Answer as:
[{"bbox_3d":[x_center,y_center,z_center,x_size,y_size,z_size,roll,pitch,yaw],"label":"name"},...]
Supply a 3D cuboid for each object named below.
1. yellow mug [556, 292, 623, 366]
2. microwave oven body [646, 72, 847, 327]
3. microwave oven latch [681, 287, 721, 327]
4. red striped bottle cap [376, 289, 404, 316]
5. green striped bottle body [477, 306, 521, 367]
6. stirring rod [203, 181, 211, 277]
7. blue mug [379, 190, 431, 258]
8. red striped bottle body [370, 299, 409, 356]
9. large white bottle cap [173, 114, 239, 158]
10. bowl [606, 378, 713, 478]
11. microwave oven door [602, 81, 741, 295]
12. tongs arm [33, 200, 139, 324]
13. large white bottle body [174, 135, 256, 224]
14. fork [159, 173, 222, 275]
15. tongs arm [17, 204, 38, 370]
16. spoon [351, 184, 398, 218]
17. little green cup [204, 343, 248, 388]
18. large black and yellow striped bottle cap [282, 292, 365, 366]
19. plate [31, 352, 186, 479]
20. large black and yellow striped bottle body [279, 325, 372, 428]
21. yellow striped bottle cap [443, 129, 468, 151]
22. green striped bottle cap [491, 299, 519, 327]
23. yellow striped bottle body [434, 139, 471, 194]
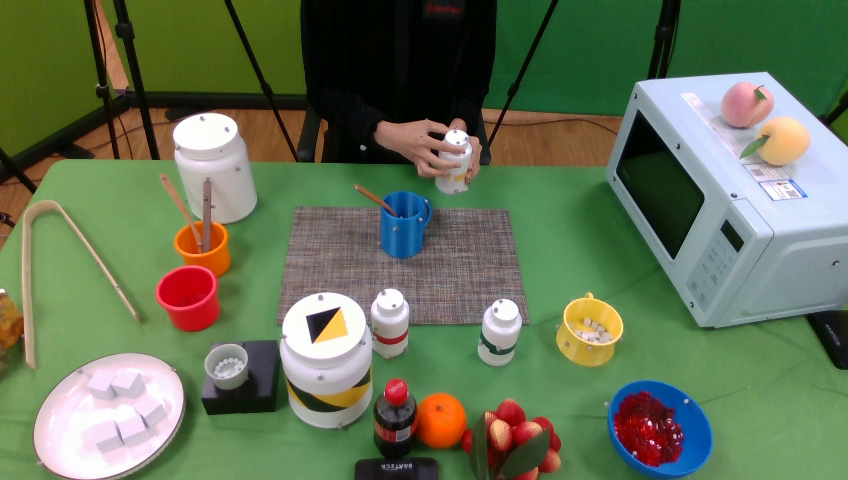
[{"bbox_3d":[0.285,0.145,1.051,0.100,0.064,0.130,7,45,3],"label":"yellow mug"},{"bbox_3d":[0.607,-0.089,1.164,0.326,0.261,0.438,-7,46,-10],"label":"microwave oven body"},{"bbox_3d":[0.494,0.119,1.087,0.030,0.029,0.078,-6,46,-9],"label":"microwave oven latch"},{"bbox_3d":[-0.055,0.098,0.958,0.044,0.018,0.044,0,48,0],"label":"red striped bottle cap"},{"bbox_3d":[0.124,0.151,0.995,0.063,0.120,0.063,2,46,-1],"label":"green striped bottle body"},{"bbox_3d":[-0.396,-0.021,1.107,0.014,0.006,0.176,-1,89,-1],"label":"stirring rod"},{"bbox_3d":[-0.032,-0.037,1.169,0.116,0.106,0.082,-29,55,-28],"label":"blue mug"},{"bbox_3d":[-0.058,0.134,0.997,0.063,0.120,0.062,4,47,-4],"label":"red striped bottle body"},{"bbox_3d":[-0.403,-0.195,1.122,0.115,0.018,0.114,2,47,-2],"label":"large white bottle cap"},{"bbox_3d":[0.340,0.292,0.906,0.151,0.077,0.150,2,46,-2],"label":"bowl"},{"bbox_3d":[0.456,-0.107,1.162,0.039,0.245,0.353,-6,47,-11],"label":"microwave oven door"},{"bbox_3d":[-0.622,0.034,1.105,0.051,0.026,0.382,-32,56,-26],"label":"tongs arm"},{"bbox_3d":[-0.407,-0.137,1.183,0.131,0.185,0.130,2,46,-2],"label":"large white bottle body"},{"bbox_3d":[-0.427,-0.029,1.103,0.028,0.018,0.207,-31,99,-30],"label":"fork"},{"bbox_3d":[-0.698,0.069,1.068,0.028,0.028,0.385,-20,50,-13],"label":"tongs arm"},{"bbox_3d":[-0.070,-0.056,1.124,0.021,0.195,0.041,-34,47,13],"label":"spoon"},{"bbox_3d":[-0.294,0.190,0.909,0.061,0.039,0.061,1,48,0],"label":"little green cup"},{"bbox_3d":[-0.139,0.121,0.841,0.115,0.019,0.114,3,47,-3],"label":"large black and yellow striped bottle cap"},{"bbox_3d":[-0.459,0.262,0.898,0.209,0.038,0.208,2,46,-2],"label":"plate"},{"bbox_3d":[-0.143,0.181,0.900,0.131,0.185,0.130,2,46,-2],"label":"large black and yellow striped bottle body"},{"bbox_3d":[0.058,-0.184,1.116,0.044,0.019,0.044,4,49,-4],"label":"yellow striped bottle cap"},{"bbox_3d":[0.128,0.115,0.958,0.044,0.020,0.044,1,46,-1],"label":"green striped bottle cap"},{"bbox_3d":[0.055,-0.150,1.156,0.063,0.121,0.062,3,51,-3],"label":"yellow striped bottle body"}]
